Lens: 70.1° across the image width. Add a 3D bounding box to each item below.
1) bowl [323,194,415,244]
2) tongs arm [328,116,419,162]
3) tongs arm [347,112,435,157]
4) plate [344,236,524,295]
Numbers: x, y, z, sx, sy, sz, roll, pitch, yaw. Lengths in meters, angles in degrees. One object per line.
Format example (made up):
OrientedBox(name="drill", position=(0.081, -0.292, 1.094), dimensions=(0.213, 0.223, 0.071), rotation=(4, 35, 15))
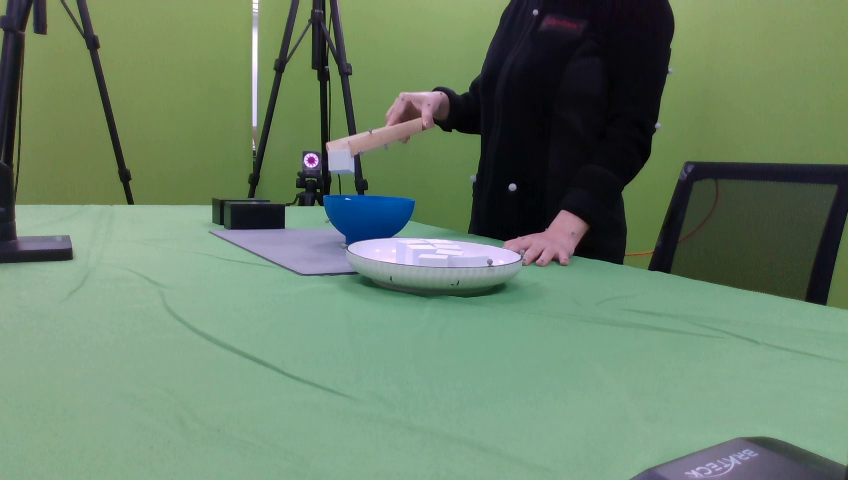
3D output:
OrientedBox(name="bowl", position=(-0.091, -0.032, 0.987), dimensions=(0.151, 0.077, 0.151), rotation=(2, 7, 0))
OrientedBox(name="tongs arm", position=(-0.077, -0.187, 1.089), dimensions=(0.028, 0.028, 0.388), rotation=(-17, 11, 24))
OrientedBox(name="tongs arm", position=(-0.055, -0.192, 1.080), dimensions=(0.050, 0.026, 0.386), rotation=(-13, 13, 27))
OrientedBox(name="plate", position=(0.010, 0.030, 0.707), dimensions=(0.208, 0.039, 0.207), rotation=(3, 8, 0))
